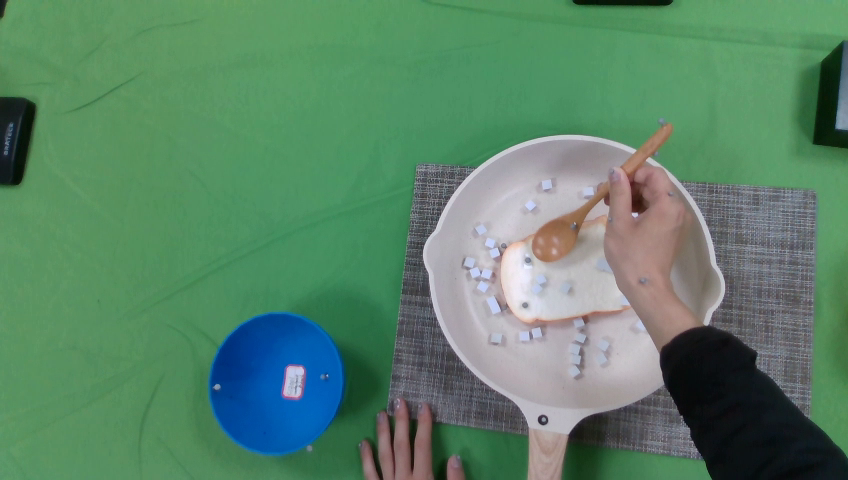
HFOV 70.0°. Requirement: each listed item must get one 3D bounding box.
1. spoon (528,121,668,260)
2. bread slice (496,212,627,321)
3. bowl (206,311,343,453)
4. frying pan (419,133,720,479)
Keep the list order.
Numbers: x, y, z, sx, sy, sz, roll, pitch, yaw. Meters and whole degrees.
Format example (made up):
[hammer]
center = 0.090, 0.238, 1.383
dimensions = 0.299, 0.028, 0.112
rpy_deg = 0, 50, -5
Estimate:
[spoon]
center = 0.174, -0.046, 0.616
dimensions = 0.041, 0.021, 0.194
rpy_deg = 48, 128, 11
[bread slice]
center = 0.149, 0.038, 0.681
dimensions = 0.134, 0.018, 0.106
rpy_deg = -16, 80, 4
[bowl]
center = -0.156, 0.156, 0.683
dimensions = 0.151, 0.077, 0.151
rpy_deg = -1, 81, 8
[frying pan]
center = 0.131, 0.131, 0.629
dimensions = 0.306, 0.103, 0.485
rpy_deg = 8, 74, 10
